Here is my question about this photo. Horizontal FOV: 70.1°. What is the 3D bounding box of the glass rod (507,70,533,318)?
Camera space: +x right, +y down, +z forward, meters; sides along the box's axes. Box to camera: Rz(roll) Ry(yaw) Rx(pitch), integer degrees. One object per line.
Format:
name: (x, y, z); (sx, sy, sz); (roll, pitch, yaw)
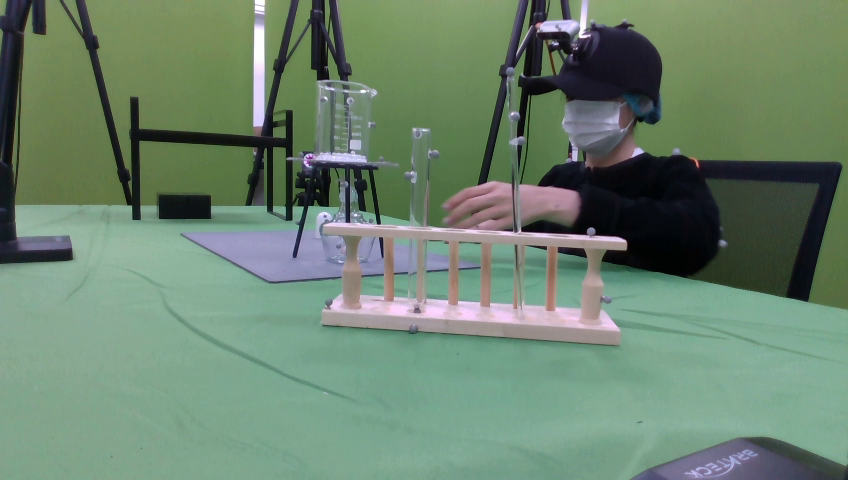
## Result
glass rod: (0.076, -0.031, 0.476); (0.008, 0.199, 0.008); (-6, 12, 2)

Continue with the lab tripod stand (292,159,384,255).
lab tripod stand: (-0.105, -0.039, 0.797); (0.148, 0.131, 0.148); (2, 5, 0)

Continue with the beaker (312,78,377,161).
beaker: (-0.103, -0.151, 0.775); (0.084, 0.100, 0.074); (5, 6, 14)

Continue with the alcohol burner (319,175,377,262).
alcohol burner: (-0.101, -0.030, 0.807); (0.078, 0.119, 0.078); (0, 7, 0)

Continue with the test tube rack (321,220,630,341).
test tube rack: (0.041, 0.029, 0.512); (0.242, 0.085, 0.067); (3, 7, 5)

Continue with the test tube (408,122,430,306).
test tube: (-0.004, -0.019, 0.489); (0.017, 0.150, 0.017); (1, 11, 0)

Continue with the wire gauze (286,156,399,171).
wire gauze: (-0.101, -0.103, 0.788); (0.121, 0.011, 0.125); (5, 4, 6)

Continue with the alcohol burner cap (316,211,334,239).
alcohol burner cap: (-0.171, -0.027, 1.048); (0.034, 0.048, 0.034); (2, 8, 0)
